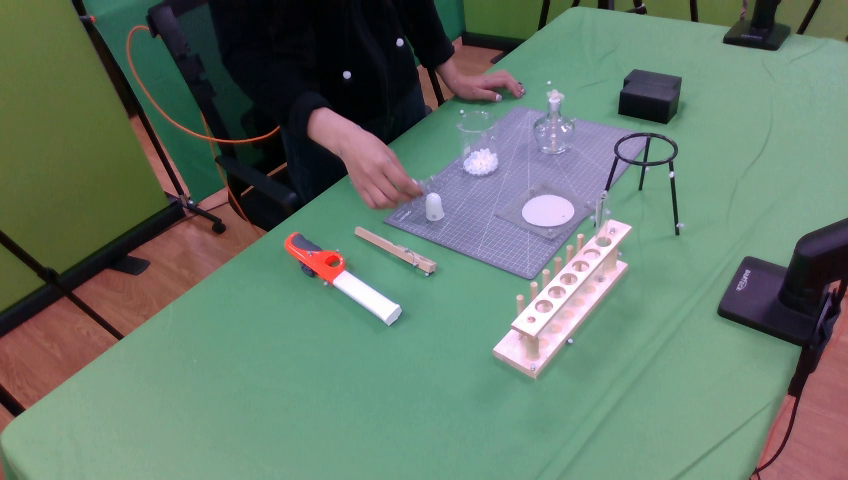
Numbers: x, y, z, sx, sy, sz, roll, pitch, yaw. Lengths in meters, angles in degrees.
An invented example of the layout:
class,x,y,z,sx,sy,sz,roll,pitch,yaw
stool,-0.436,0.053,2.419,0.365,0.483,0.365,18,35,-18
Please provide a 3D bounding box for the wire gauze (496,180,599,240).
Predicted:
class,x,y,z,sx,sy,sz,roll,pitch,yaw
wire gauze,0.206,-0.050,1.012,0.125,0.011,0.120,-34,45,-26

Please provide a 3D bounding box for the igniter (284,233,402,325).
class,x,y,z,sx,sy,sz,roll,pitch,yaw
igniter,-0.136,0.054,0.942,0.274,0.025,0.057,29,63,37

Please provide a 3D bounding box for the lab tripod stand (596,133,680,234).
class,x,y,z,sx,sy,sz,roll,pitch,yaw
lab tripod stand,0.338,-0.090,0.940,0.148,0.132,0.147,-7,39,6

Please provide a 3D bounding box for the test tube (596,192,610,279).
class,x,y,z,sx,sy,sz,roll,pitch,yaw
test tube,0.240,-0.002,0.814,0.017,0.151,0.017,-7,42,7

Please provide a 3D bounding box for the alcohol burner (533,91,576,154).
class,x,y,z,sx,sy,sz,roll,pitch,yaw
alcohol burner,0.243,-0.222,1.124,0.078,0.119,0.077,-4,39,4

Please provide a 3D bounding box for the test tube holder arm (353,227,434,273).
class,x,y,z,sx,sy,sz,roll,pitch,yaw
test tube holder arm,-0.053,0.014,0.978,0.177,0.015,0.013,25,16,34

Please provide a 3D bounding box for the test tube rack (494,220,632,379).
class,x,y,z,sx,sy,sz,roll,pitch,yaw
test tube rack,0.191,0.068,0.818,0.066,0.085,0.243,25,51,35

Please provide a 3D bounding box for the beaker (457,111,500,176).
class,x,y,z,sx,sy,sz,roll,pitch,yaw
beaker,0.104,-0.176,1.108,0.073,0.101,0.084,16,46,27

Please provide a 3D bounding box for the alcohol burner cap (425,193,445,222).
class,x,y,z,sx,sy,sz,roll,pitch,yaw
alcohol burner cap,0.017,-0.058,1.029,0.034,0.048,0.033,-6,40,5

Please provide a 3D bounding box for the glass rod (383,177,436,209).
class,x,y,z,sx,sy,sz,roll,pitch,yaw
glass rod,-0.026,-0.072,0.949,0.008,0.008,0.198,-35,6,-26

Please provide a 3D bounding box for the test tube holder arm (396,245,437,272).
class,x,y,z,sx,sy,sz,roll,pitch,yaw
test tube holder arm,-0.016,0.029,0.957,0.087,0.015,0.010,25,16,35
